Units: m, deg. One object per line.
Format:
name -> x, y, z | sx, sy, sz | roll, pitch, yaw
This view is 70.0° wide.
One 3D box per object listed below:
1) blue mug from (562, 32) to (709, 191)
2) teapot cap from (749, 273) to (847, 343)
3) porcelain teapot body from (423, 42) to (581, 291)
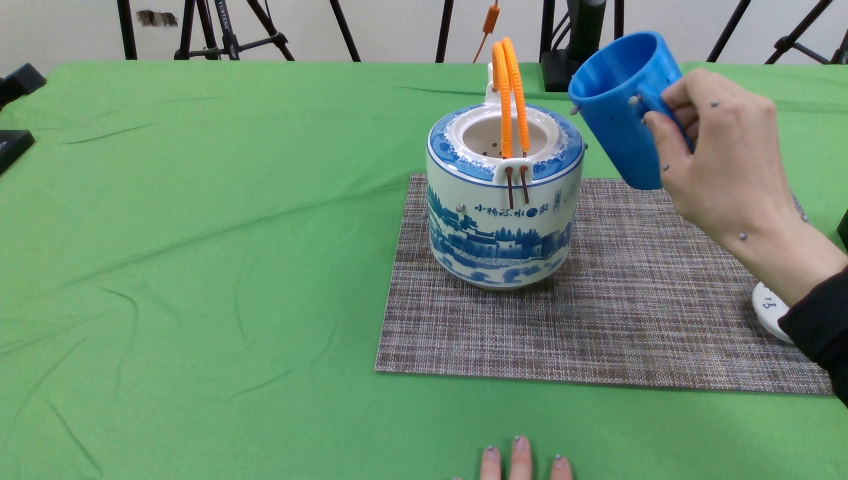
blue mug -> 0.181, -0.098, 0.498 | 0.082, 0.107, 0.115 | -38, 29, 12
teapot cap -> 0.342, 0.056, 0.549 | 0.085, 0.044, 0.084 | 0, 41, 0
porcelain teapot body -> 0.070, -0.088, 0.589 | 0.145, 0.227, 0.203 | -3, 41, -1
